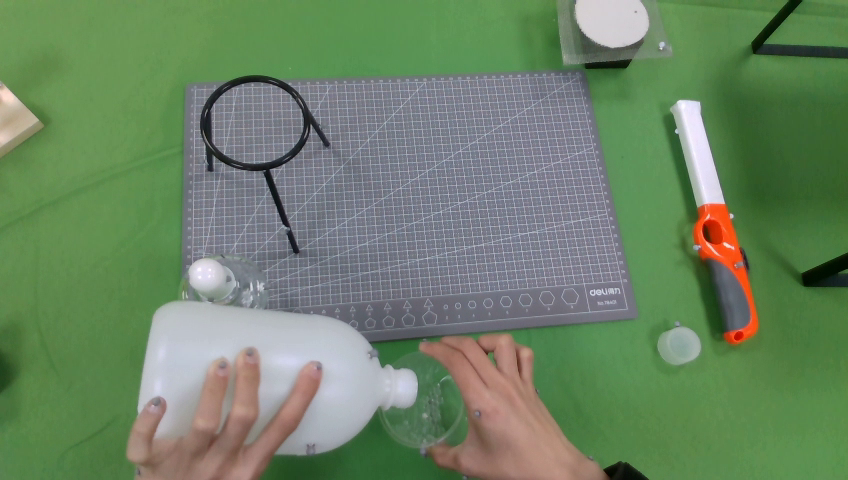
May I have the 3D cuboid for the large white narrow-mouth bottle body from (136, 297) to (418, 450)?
[{"bbox_3d":[-0.098,0.102,0.446,0.196,0.102,0.101,9,69,-21],"label":"large white narrow-mouth bottle body"}]

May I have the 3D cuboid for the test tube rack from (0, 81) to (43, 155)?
[{"bbox_3d":[-0.497,-0.075,0.559,0.066,0.085,0.242,43,72,9],"label":"test tube rack"}]

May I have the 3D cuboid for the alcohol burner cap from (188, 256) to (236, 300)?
[{"bbox_3d":[-0.176,0.030,0.499,0.034,0.048,0.033,1,76,-5],"label":"alcohol burner cap"}]

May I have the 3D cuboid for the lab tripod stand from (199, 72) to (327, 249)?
[{"bbox_3d":[-0.145,-0.078,0.567,0.149,0.132,0.147,2,71,-7],"label":"lab tripod stand"}]

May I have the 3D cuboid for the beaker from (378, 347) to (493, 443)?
[{"bbox_3d":[0.012,0.136,0.524,0.083,0.101,0.073,3,74,24],"label":"beaker"}]

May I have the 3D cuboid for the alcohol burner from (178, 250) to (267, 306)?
[{"bbox_3d":[-0.180,0.040,0.533,0.078,0.119,0.077,3,69,-6],"label":"alcohol burner"}]

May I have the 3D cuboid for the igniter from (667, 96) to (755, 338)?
[{"bbox_3d":[0.309,-0.031,0.654,0.057,0.025,0.274,0,71,-17],"label":"igniter"}]

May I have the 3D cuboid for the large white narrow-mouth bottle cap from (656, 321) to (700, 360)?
[{"bbox_3d":[0.255,0.102,0.609,0.038,0.024,0.037,2,71,-4],"label":"large white narrow-mouth bottle cap"}]

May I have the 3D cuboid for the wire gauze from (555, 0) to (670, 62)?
[{"bbox_3d":[0.205,-0.256,0.679,0.121,0.011,0.124,-2,72,-6],"label":"wire gauze"}]
